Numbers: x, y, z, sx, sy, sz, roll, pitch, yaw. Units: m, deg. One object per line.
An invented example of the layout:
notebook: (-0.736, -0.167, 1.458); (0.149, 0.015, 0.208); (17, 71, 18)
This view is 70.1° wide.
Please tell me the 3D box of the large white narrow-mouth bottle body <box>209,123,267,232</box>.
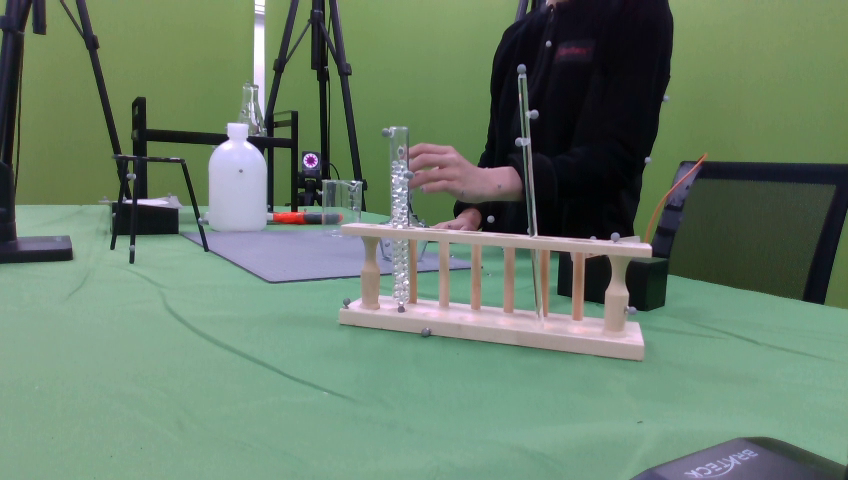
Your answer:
large white narrow-mouth bottle body: (-0.340, -0.115, 1.109); (0.102, 0.194, 0.102); (2, 8, 0)

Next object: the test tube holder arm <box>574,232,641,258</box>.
test tube holder arm: (0.202, 0.003, 0.651); (0.013, 0.015, 0.179); (-4, 2, 36)

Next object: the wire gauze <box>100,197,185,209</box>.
wire gauze: (-0.469, -0.062, 1.008); (0.126, 0.011, 0.121); (-2, 8, -25)

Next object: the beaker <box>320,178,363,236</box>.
beaker: (-0.145, -0.059, 1.079); (0.074, 0.100, 0.083); (-4, 10, -36)

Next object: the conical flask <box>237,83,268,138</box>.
conical flask: (-0.402, -0.299, 1.406); (0.075, 0.122, 0.075); (2, 7, 0)

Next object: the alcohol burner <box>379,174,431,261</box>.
alcohol burner: (-0.027, -0.031, 0.838); (0.078, 0.119, 0.078); (0, 6, 0)

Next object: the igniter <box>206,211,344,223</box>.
igniter: (-0.302, -0.048, 1.249); (0.278, 0.025, 0.057); (-2, -2, -27)

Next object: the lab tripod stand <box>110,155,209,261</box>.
lab tripod stand: (-0.361, -0.046, 0.806); (0.148, 0.131, 0.148); (2, 5, 0)

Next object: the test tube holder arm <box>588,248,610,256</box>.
test tube holder arm: (0.180, 0.006, 0.611); (0.010, 0.015, 0.088); (-4, 2, 36)

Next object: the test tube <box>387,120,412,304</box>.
test tube: (-0.019, -0.021, 0.488); (0.017, 0.150, 0.017); (-1, 13, 1)

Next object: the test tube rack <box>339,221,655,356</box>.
test tube rack: (0.056, 0.032, 0.495); (0.242, 0.085, 0.067); (4, 7, 15)

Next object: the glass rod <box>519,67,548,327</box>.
glass rod: (0.084, -0.029, 0.459); (0.008, 0.199, 0.008); (-7, 11, 2)

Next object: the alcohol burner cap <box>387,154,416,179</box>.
alcohol burner cap: (-0.028, -0.099, 0.818); (0.034, 0.034, 0.048); (4, 7, 13)

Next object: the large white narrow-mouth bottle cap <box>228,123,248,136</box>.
large white narrow-mouth bottle cap: (-0.338, -0.200, 1.097); (0.038, 0.024, 0.037); (2, 8, 0)
